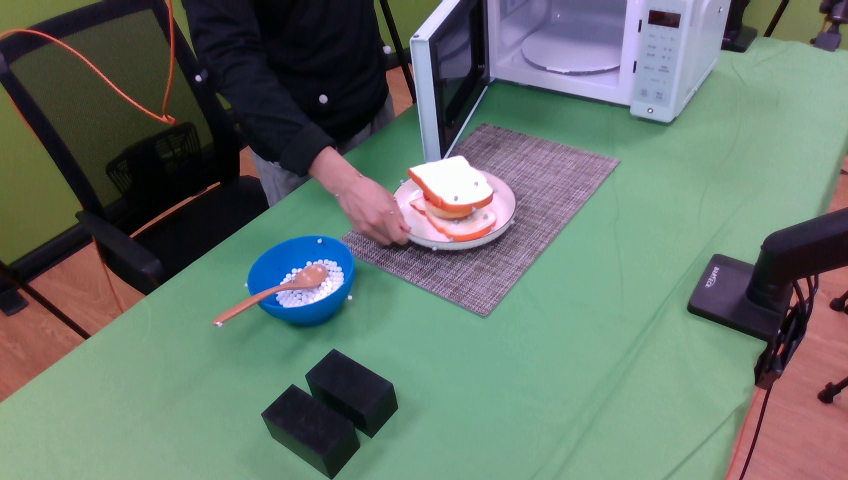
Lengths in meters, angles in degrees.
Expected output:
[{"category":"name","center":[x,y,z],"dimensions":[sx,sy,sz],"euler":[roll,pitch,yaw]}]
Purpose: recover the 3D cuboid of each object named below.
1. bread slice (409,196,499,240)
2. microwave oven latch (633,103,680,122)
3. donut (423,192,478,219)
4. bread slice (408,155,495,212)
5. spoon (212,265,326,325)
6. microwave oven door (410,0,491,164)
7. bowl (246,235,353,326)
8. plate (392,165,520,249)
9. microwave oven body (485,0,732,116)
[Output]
[{"category":"bread slice","center":[0.057,-0.047,0.987],"dimensions":[0.107,0.018,0.133],"euler":[-26,44,-24]},{"category":"microwave oven latch","center":[0.444,-0.249,1.157],"dimensions":[0.078,0.029,0.030],"euler":[21,49,30]},{"category":"donut","center":[0.048,-0.072,0.974],"dimensions":[0.099,0.048,0.098],"euler":[-4,39,4]},{"category":"bread slice","center":[0.050,-0.090,0.949],"dimensions":[0.105,0.019,0.130],"euler":[-18,44,-24]},{"category":"spoon","center":[-0.208,0.072,0.822],"dimensions":[0.041,0.021,0.195],"euler":[26,28,27]},{"category":"microwave oven door","center":[0.062,-0.342,1.164],"dimensions":[0.039,0.245,0.355],"euler":[9,43,18]},{"category":"bowl","center":[-0.170,0.070,0.868],"dimensions":[0.151,0.077,0.150],"euler":[-4,41,4]},{"category":"plate","center":[0.053,-0.052,0.992],"dimensions":[0.207,0.039,0.206],"euler":[-3,41,3]},{"category":"microwave oven body","center":[0.377,-0.462,1.267],"dimensions":[0.438,0.261,0.327],"euler":[21,48,30]}]
